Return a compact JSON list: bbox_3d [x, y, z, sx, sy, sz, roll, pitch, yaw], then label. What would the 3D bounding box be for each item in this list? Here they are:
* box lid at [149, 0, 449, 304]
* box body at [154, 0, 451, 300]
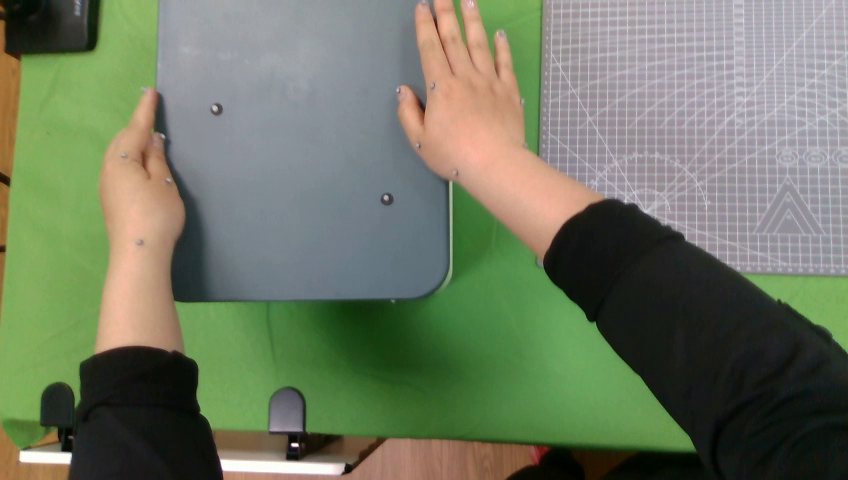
[{"bbox_3d":[-0.111,-0.131,0.531,0.263,0.015,0.370,-2,84,7],"label":"box lid"},{"bbox_3d":[-0.102,-0.120,0.604,0.254,0.161,0.363,-2,83,7],"label":"box body"}]
